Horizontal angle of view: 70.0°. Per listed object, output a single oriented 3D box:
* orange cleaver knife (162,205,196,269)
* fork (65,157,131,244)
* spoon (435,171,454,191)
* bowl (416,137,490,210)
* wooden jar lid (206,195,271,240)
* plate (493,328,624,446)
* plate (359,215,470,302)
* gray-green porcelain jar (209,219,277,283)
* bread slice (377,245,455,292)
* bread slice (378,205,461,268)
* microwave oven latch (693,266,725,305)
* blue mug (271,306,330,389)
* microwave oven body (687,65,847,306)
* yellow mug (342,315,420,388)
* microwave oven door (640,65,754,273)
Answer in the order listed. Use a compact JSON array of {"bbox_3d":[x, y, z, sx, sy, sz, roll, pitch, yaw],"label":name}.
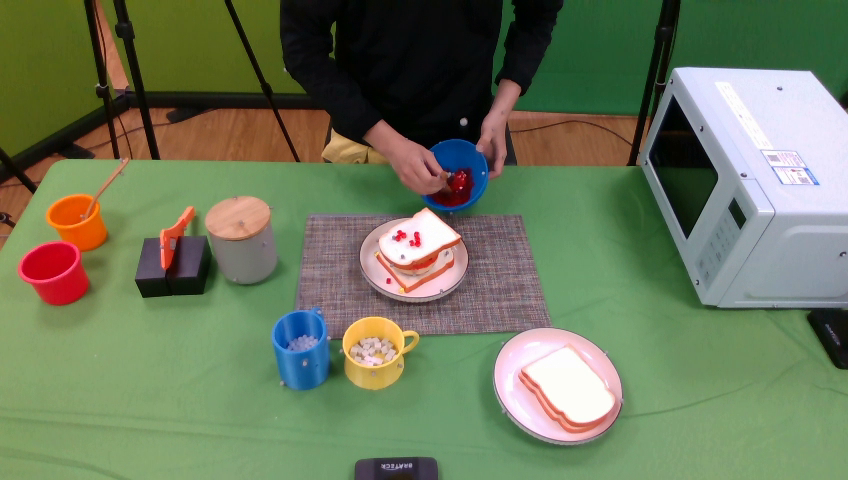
[{"bbox_3d":[-0.454,-0.010,1.129,0.012,0.077,0.210,-2,20,-5],"label":"orange cleaver knife"},{"bbox_3d":[-0.608,-0.074,1.132,0.207,0.019,0.028,-52,48,10],"label":"fork"},{"bbox_3d":[0.039,-0.115,1.152,0.041,0.194,0.021,22,86,3],"label":"spoon"},{"bbox_3d":[0.067,-0.125,1.225,0.151,0.077,0.151,-5,75,19],"label":"bowl"},{"bbox_3d":[-0.319,-0.036,1.046,0.108,0.021,0.107,1,44,0],"label":"wooden jar lid"},{"bbox_3d":[0.213,0.236,0.974,0.208,0.039,0.206,2,46,-2],"label":"plate"},{"bbox_3d":[-0.019,0.038,1.140,0.209,0.038,0.208,2,46,-2],"label":"plate"},{"bbox_3d":[-0.323,0.007,1.092,0.106,0.127,0.105,2,46,-2],"label":"gray-green porcelain jar"},{"bbox_3d":[-0.010,0.033,1.150,0.131,0.019,0.104,-28,56,-23],"label":"bread slice"},{"bbox_3d":[-0.013,-0.002,1.097,0.134,0.018,0.106,-34,50,-22],"label":"bread slice"},{"bbox_3d":[0.523,0.081,1.115,0.030,0.029,0.078,3,46,0],"label":"microwave oven latch"},{"bbox_3d":[-0.188,0.163,0.969,0.082,0.106,0.116,15,47,10],"label":"blue mug"},{"bbox_3d":[0.669,-0.111,1.176,0.326,0.261,0.439,0,46,-3],"label":"microwave oven body"},{"bbox_3d":[-0.068,0.177,0.990,0.131,0.064,0.099,-15,50,-19],"label":"yellow mug"},{"bbox_3d":[0.523,-0.147,1.193,0.039,0.245,0.353,0,47,-3],"label":"microwave oven door"}]
